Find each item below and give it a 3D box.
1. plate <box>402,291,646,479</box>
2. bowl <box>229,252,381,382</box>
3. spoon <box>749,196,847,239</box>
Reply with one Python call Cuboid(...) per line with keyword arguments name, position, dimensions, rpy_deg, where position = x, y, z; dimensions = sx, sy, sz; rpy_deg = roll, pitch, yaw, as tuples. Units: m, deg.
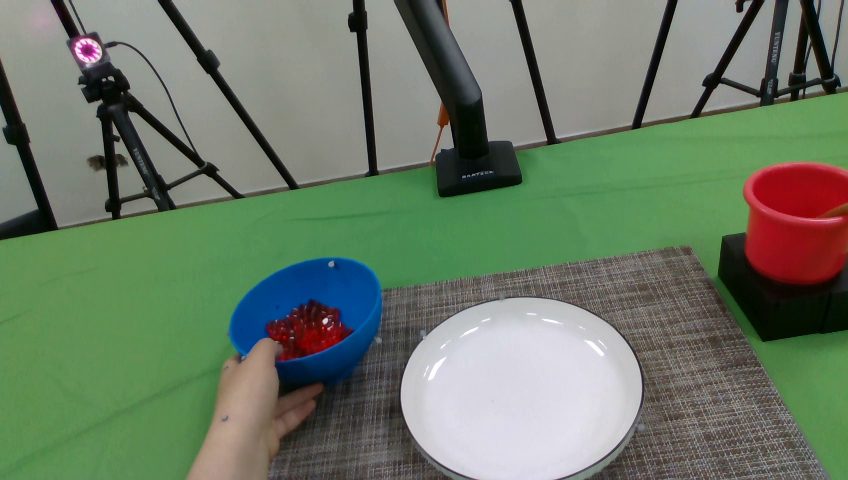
Cuboid(name="plate", position=(0.086, 0.126, 0.533), dimensions=(0.207, 0.039, 0.205), rpy_deg=(-8, 36, 7))
Cuboid(name="bowl", position=(-0.109, 0.089, 0.610), dimensions=(0.151, 0.077, 0.150), rpy_deg=(-8, 36, 7))
Cuboid(name="spoon", position=(0.338, -0.026, 0.489), dimensions=(0.041, 0.021, 0.194), rpy_deg=(-23, -7, -12))
